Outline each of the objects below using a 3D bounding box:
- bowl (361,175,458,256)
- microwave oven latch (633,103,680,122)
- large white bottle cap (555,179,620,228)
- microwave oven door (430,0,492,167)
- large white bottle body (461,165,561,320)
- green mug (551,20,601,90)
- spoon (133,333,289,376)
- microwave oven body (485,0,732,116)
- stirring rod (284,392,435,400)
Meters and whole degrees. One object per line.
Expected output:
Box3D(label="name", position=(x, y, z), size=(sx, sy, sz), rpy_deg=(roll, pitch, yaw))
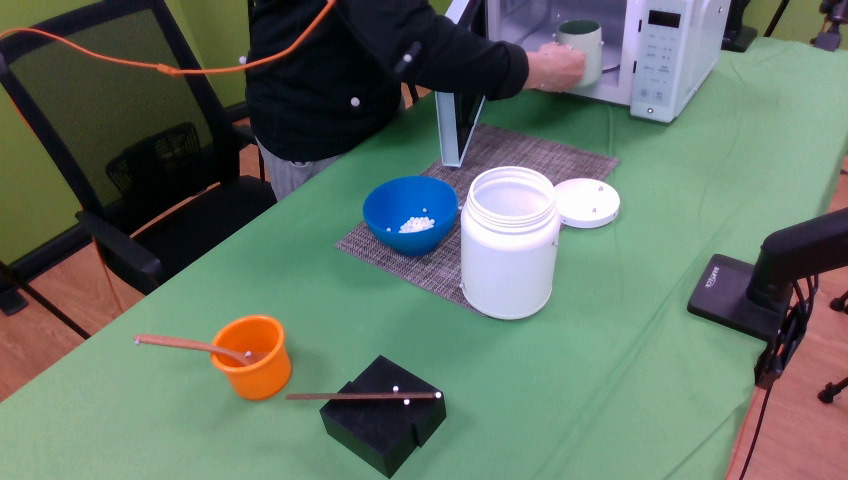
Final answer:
Box3D(label="bowl", position=(-0.019, -0.028, 0.955), size=(0.151, 0.077, 0.150), rpy_deg=(-4, 40, 4))
Box3D(label="microwave oven latch", position=(0.443, -0.249, 1.157), size=(0.078, 0.029, 0.030), rpy_deg=(21, 49, 30))
Box3D(label="large white bottle cap", position=(0.265, -0.062, 1.001), size=(0.115, 0.018, 0.114), rpy_deg=(-4, 41, 4))
Box3D(label="microwave oven door", position=(0.079, -0.340, 1.160), size=(0.039, 0.245, 0.355), rpy_deg=(5, 42, 14))
Box3D(label="large white bottle body", position=(0.115, 0.004, 0.816), size=(0.130, 0.185, 0.130), rpy_deg=(-2, 43, 2))
Box3D(label="green mug", position=(0.278, -0.337, 1.126), size=(0.092, 0.105, 0.125), rpy_deg=(17, 46, 27))
Box3D(label="spoon", position=(-0.257, 0.137, 0.747), size=(0.021, 0.195, 0.041), rpy_deg=(-47, 40, 23))
Box3D(label="microwave oven body", position=(0.377, -0.463, 1.267), size=(0.438, 0.261, 0.327), rpy_deg=(21, 49, 30))
Box3D(label="stirring rod", position=(-0.075, 0.180, 0.698), size=(0.176, 0.006, 0.014), rpy_deg=(-2, 6, 7))
